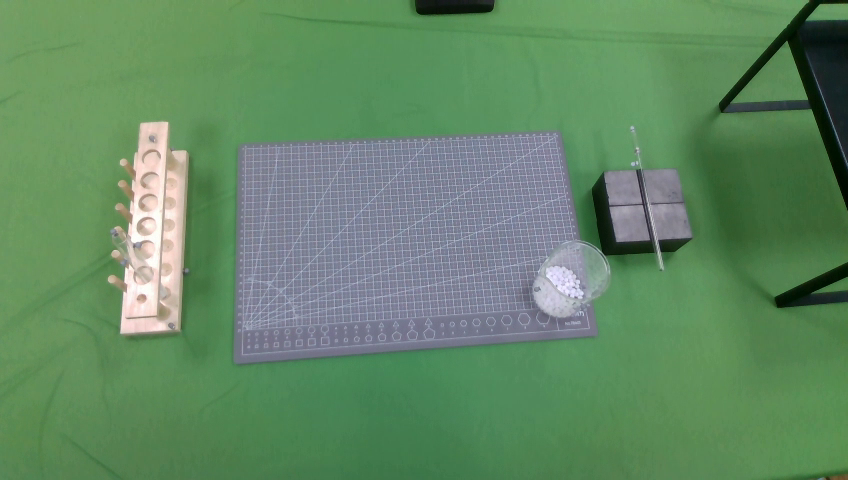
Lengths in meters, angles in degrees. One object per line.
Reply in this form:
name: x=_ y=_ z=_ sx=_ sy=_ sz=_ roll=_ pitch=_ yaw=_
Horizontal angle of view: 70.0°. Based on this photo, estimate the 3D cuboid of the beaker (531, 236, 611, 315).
beaker: x=0.171 y=0.048 z=0.736 sx=0.084 sy=0.101 sz=0.073 roll=-2 pitch=70 yaw=-3

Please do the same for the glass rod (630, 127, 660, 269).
glass rod: x=0.285 y=-0.058 z=0.783 sx=0.008 sy=0.008 sz=0.198 roll=-1 pitch=71 yaw=-4

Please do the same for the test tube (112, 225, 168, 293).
test tube: x=-0.309 y=0.025 z=0.665 sx=0.017 sy=0.151 sz=0.017 roll=3 pitch=63 yaw=-5

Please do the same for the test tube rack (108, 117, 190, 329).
test tube rack: x=-0.335 y=-0.021 z=0.732 sx=0.067 sy=0.085 sz=0.240 roll=-3 pitch=71 yaw=-5
